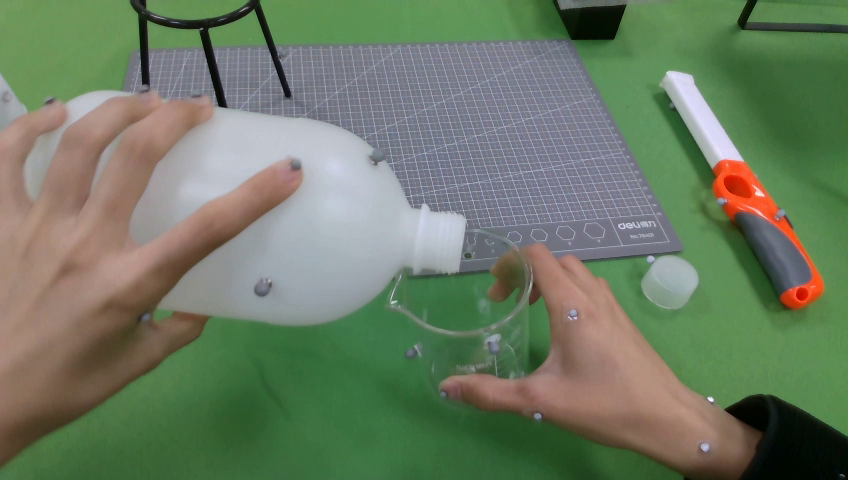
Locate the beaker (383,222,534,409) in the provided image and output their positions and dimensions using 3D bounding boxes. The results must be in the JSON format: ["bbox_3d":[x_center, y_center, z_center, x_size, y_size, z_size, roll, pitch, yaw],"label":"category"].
[{"bbox_3d":[0.024,0.051,0.364,0.084,0.101,0.073,-15,49,-4],"label":"beaker"}]

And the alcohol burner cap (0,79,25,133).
[{"bbox_3d":[-0.290,-0.096,0.397,0.034,0.048,0.033,2,57,-3],"label":"alcohol burner cap"}]

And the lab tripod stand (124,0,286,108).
[{"bbox_3d":[-0.166,-0.135,0.472,0.148,0.132,0.147,4,51,-5],"label":"lab tripod stand"}]

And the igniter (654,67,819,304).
[{"bbox_3d":[0.266,-0.061,0.531,0.057,0.025,0.273,4,51,-17],"label":"igniter"}]

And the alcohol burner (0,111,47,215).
[{"bbox_3d":[-0.293,-0.074,0.426,0.078,0.120,0.077,4,49,-4],"label":"alcohol burner"}]

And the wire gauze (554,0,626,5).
[{"bbox_3d":[0.184,-0.292,0.658,0.122,0.011,0.123,-3,52,-11],"label":"wire gauze"}]

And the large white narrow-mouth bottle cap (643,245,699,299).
[{"bbox_3d":[0.187,0.024,0.459,0.038,0.024,0.037,3,51,-3],"label":"large white narrow-mouth bottle cap"}]

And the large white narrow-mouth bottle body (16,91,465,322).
[{"bbox_3d":[-0.077,-0.011,0.298,0.194,0.102,0.101,7,51,2],"label":"large white narrow-mouth bottle body"}]
